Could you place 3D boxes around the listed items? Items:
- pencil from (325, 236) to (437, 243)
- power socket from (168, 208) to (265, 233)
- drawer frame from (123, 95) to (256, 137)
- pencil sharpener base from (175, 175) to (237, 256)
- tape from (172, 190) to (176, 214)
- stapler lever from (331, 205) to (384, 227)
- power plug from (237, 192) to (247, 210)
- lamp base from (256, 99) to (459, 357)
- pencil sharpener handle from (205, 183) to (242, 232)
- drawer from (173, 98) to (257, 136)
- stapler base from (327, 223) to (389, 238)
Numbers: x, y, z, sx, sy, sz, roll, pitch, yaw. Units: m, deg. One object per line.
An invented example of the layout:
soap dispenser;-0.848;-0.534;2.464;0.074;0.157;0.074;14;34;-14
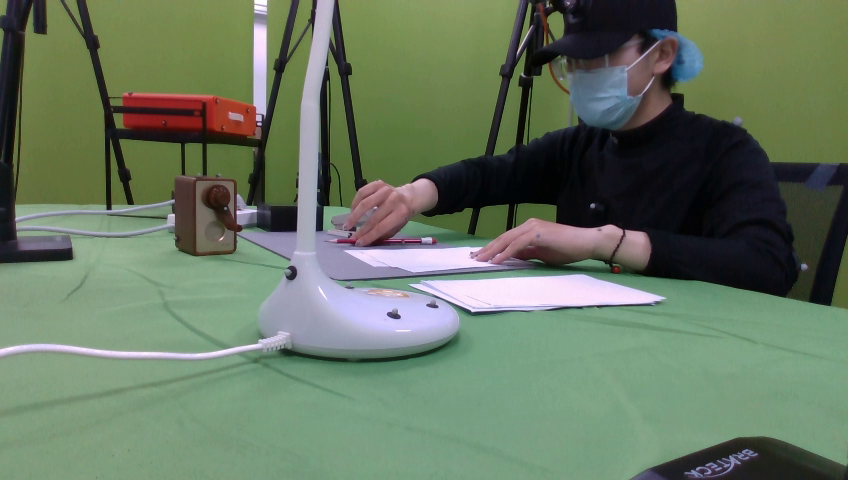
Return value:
pencil;-0.067;0.000;0.984;0.195;0.012;0.012;-1;8;-25
power socket;-0.381;-0.038;1.129;0.072;0.032;0.227;4;8;17
drawer frame;-0.524;-0.281;1.376;0.213;0.082;0.202;3;8;8
pencil sharpener base;-0.304;-0.035;0.847;0.062;0.107;0.076;-4;10;-42
tape;-0.515;-0.087;1.388;0.117;0.052;0.117;3;7;0
stapler lever;-0.119;-0.044;1.070;0.117;0.040;0.027;7;8;41
power plug;-0.386;-0.071;1.204;0.072;0.052;0.035;7;8;26
lamp base;-0.055;-0.013;0.463;0.160;0.180;0.180;6;11;27
pencil sharpener handle;-0.265;-0.043;0.813;0.036;0.068;0.030;-32;28;-35
drawer;-0.518;-0.279;1.376;0.211;0.073;0.195;3;8;9
stapler base;-0.117;-0.019;1.073;0.130;0.024;0.041;7;8;41
